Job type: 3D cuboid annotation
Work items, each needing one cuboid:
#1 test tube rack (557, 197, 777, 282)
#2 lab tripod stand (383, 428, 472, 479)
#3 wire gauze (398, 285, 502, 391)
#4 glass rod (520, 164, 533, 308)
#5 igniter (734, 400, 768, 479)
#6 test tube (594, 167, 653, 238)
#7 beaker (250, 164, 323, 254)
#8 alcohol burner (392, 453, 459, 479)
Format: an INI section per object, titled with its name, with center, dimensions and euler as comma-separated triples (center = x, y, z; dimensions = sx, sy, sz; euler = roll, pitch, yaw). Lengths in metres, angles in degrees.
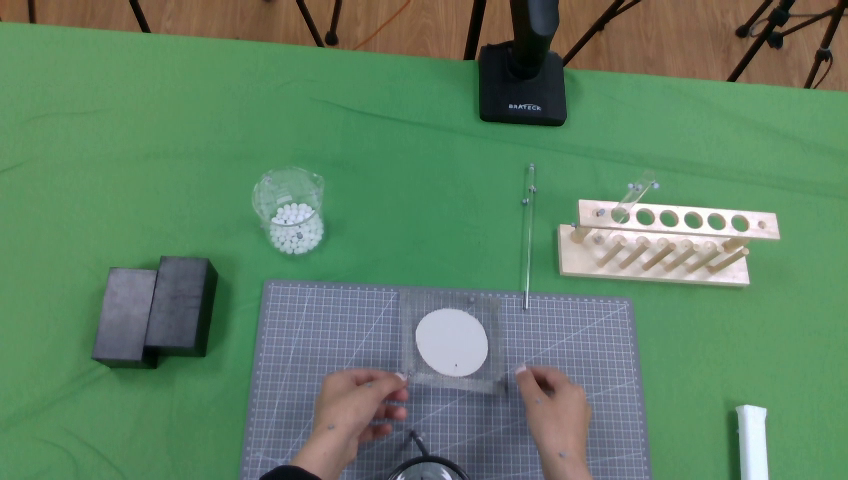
[test tube rack]
center = 0.295, 0.002, 0.745
dimensions = 0.243, 0.085, 0.066
euler = 3, 68, -5
[lab tripod stand]
center = -0.004, 0.251, 0.584
dimensions = 0.148, 0.132, 0.147
euler = 2, 67, -3
[wire gauze]
center = 0.030, 0.110, 0.701
dimensions = 0.125, 0.011, 0.120
euler = 8, 56, -11
[glass rod]
center = 0.131, -0.009, 0.771
dimensions = 0.008, 0.008, 0.198
euler = 8, 69, -3
[igniter]
center = 0.361, 0.316, 0.661
dimensions = 0.057, 0.025, 0.274
euler = 14, 68, -12
[test tube]
center = 0.227, -0.039, 0.701
dimensions = 0.017, 0.151, 0.017
euler = 2, 65, -4
[beaker]
center = -0.152, -0.033, 0.701
dimensions = 0.084, 0.101, 0.073
euler = -34, 76, -18
[alcohol burner]
center = 0.001, 0.248, 0.597
dimensions = 0.078, 0.120, 0.077
euler = 3, 66, -7
